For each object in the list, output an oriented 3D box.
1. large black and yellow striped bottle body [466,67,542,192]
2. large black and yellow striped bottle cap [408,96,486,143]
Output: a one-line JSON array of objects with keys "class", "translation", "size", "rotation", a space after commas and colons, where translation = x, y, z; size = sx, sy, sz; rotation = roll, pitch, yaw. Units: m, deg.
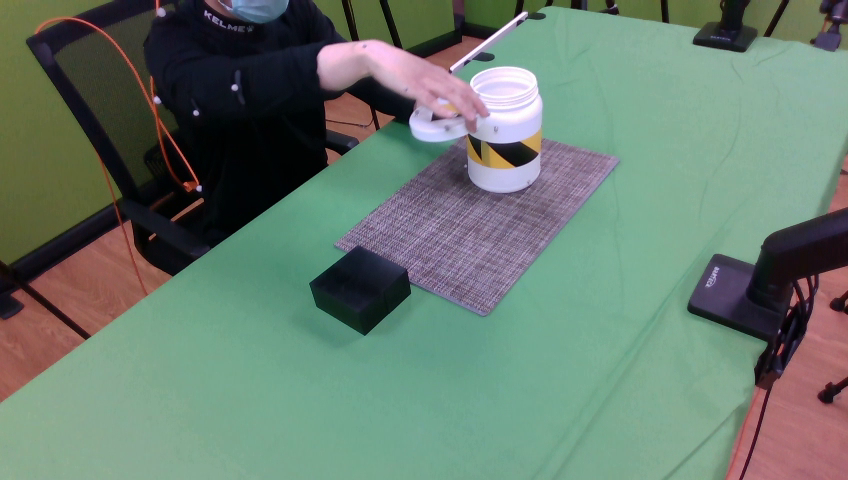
[{"class": "large black and yellow striped bottle body", "translation": [0.136, -0.190, 1.040], "size": [0.131, 0.185, 0.130], "rotation": [-4, 41, 4]}, {"class": "large black and yellow striped bottle cap", "translation": [0.032, -0.178, 0.885], "size": [0.115, 0.019, 0.114], "rotation": [-10, 36, 8]}]
